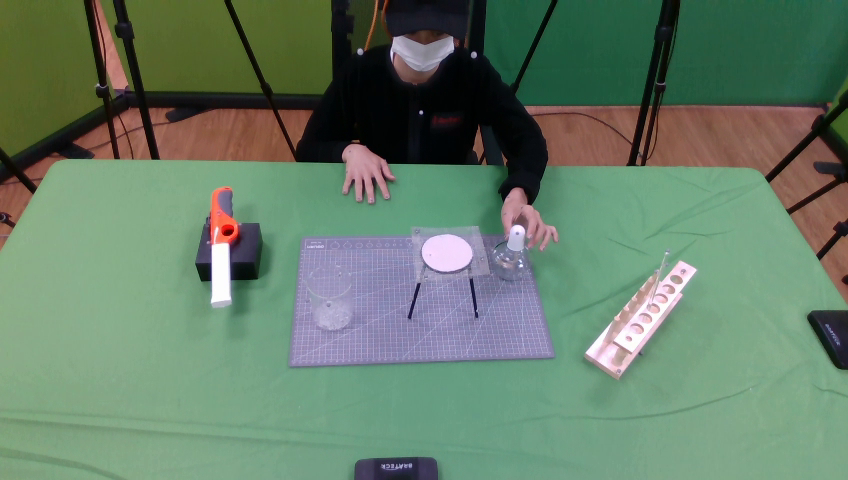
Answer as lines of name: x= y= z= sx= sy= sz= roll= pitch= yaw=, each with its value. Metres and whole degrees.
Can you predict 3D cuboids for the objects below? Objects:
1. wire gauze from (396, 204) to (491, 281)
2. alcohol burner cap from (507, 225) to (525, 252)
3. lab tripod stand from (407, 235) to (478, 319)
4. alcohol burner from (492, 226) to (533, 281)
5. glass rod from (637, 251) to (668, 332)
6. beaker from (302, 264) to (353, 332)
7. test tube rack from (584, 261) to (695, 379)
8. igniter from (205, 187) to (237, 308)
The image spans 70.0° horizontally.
wire gauze: x=0.032 y=0.004 z=0.999 sx=0.125 sy=0.011 sz=0.120 roll=-22 pitch=54 yaw=-14
alcohol burner cap: x=0.169 y=-0.005 z=1.099 sx=0.034 sy=0.048 sz=0.033 roll=1 pitch=41 yaw=-1
lab tripod stand: x=0.032 y=0.065 z=1.057 sx=0.148 sy=0.132 sz=0.147 roll=1 pitch=45 yaw=-1
alcohol burner: x=0.166 y=0.020 z=1.125 sx=0.078 sy=0.120 sz=0.077 roll=1 pitch=47 yaw=-1
glass rod: x=0.378 y=0.090 z=1.005 sx=0.008 sy=0.201 sz=0.008 roll=-1 pitch=44 yaw=1
beaker: x=-0.162 y=0.101 z=1.030 sx=0.084 sy=0.101 sz=0.073 roll=4 pitch=46 yaw=0
test tube rack: x=0.380 y=0.127 z=1.062 sx=0.066 sy=0.085 sz=0.242 roll=34 pitch=53 yaw=26
igniter: x=-0.367 y=0.004 z=1.097 sx=0.057 sy=0.025 sz=0.274 roll=-7 pitch=51 yaw=-11
